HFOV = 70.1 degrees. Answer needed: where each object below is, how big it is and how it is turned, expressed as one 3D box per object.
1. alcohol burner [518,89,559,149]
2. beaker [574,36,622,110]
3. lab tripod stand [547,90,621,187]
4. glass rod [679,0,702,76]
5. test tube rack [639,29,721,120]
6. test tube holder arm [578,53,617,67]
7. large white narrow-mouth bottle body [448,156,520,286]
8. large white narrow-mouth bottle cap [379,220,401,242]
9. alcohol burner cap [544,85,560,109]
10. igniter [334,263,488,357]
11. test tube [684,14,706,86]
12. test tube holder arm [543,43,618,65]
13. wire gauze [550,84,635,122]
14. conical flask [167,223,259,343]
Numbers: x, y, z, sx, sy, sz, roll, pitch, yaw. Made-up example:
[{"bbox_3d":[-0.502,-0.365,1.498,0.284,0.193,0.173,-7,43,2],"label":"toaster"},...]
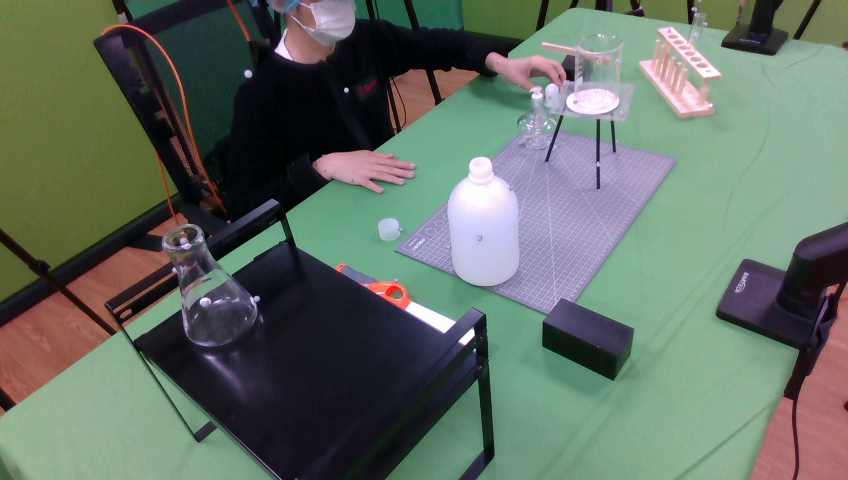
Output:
[{"bbox_3d":[0.218,-0.235,1.149,0.078,0.119,0.077,-5,43,5],"label":"alcohol burner"},{"bbox_3d":[0.285,-0.273,0.990,0.073,0.101,0.084,15,46,27],"label":"beaker"},{"bbox_3d":[0.289,-0.184,1.063,0.148,0.132,0.147,-6,41,6],"label":"lab tripod stand"},{"bbox_3d":[0.543,-0.417,1.233,0.008,0.200,0.008,1,39,0],"label":"glass rod"},{"bbox_3d":[0.527,-0.351,1.262,0.067,0.085,0.241,-8,40,1],"label":"test tube rack"},{"bbox_3d":[0.376,-0.394,1.314,0.087,0.015,0.010,26,50,32],"label":"test tube holder arm"},{"bbox_3d":[0.086,-0.032,0.869,0.102,0.195,0.101,-4,40,4],"label":"large white narrow-mouth bottle body"},{"bbox_3d":[-0.057,-0.015,1.012,0.038,0.024,0.037,-4,40,4],"label":"large white narrow-mouth bottle cap"},{"bbox_3d":[0.273,-0.308,1.287,0.034,0.048,0.033,-1,46,1],"label":"alcohol burner cap"},{"bbox_3d":[-0.030,0.095,0.872,0.274,0.025,0.057,23,60,31],"label":"igniter"},{"bbox_3d":[0.540,-0.378,1.215,0.017,0.151,0.017,-2,44,3],"label":"test tube"},{"bbox_3d":[0.345,-0.413,1.341,0.177,0.015,0.013,25,49,32],"label":"test tube holder arm"},{"bbox_3d":[0.285,-0.234,1.021,0.124,0.011,0.121,8,41,23],"label":"wire gauze"},{"bbox_3d":[-0.220,0.041,0.613,0.075,0.122,0.075,-5,40,4],"label":"conical flask"}]
